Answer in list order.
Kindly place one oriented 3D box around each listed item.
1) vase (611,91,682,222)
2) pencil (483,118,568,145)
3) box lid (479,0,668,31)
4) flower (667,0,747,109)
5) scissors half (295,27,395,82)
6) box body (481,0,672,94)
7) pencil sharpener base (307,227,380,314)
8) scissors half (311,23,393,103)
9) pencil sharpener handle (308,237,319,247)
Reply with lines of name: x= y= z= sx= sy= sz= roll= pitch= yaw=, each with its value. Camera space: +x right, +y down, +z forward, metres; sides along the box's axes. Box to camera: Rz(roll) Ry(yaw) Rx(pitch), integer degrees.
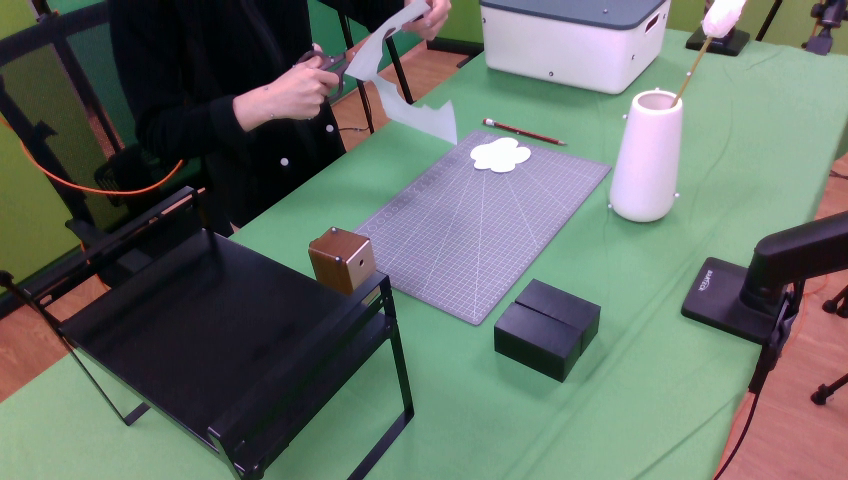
vase: x=0.348 y=-0.125 z=0.935 sx=0.098 sy=0.201 sz=0.097 roll=-3 pitch=40 yaw=3
pencil: x=0.201 y=-0.217 z=1.212 sx=0.192 sy=0.012 sz=0.012 roll=24 pitch=49 yaw=29
box lid: x=0.335 y=-0.536 z=1.331 sx=0.368 sy=0.015 sz=0.264 roll=23 pitch=49 yaw=30
flower: x=0.354 y=-0.187 z=0.879 sx=0.038 sy=0.362 sz=0.044 roll=30 pitch=48 yaw=14
scissors half: x=-0.124 y=-0.292 z=0.936 sx=0.175 sy=0.040 sz=0.013 roll=-20 pitch=29 yaw=12
box body: x=0.341 y=-0.480 z=1.381 sx=0.361 sy=0.161 sz=0.255 roll=22 pitch=48 yaw=30
pencil sharpener base: x=-0.116 y=0.043 z=0.875 sx=0.076 sy=0.107 sz=0.061 roll=18 pitch=47 yaw=27
scissors half: x=-0.111 y=-0.276 z=0.944 sx=0.175 sy=0.040 sz=0.012 roll=-41 pitch=18 yaw=21
pencil sharpener handle: x=-0.159 y=0.017 z=0.892 sx=0.030 sy=0.068 sz=0.036 roll=18 pitch=60 yaw=28
